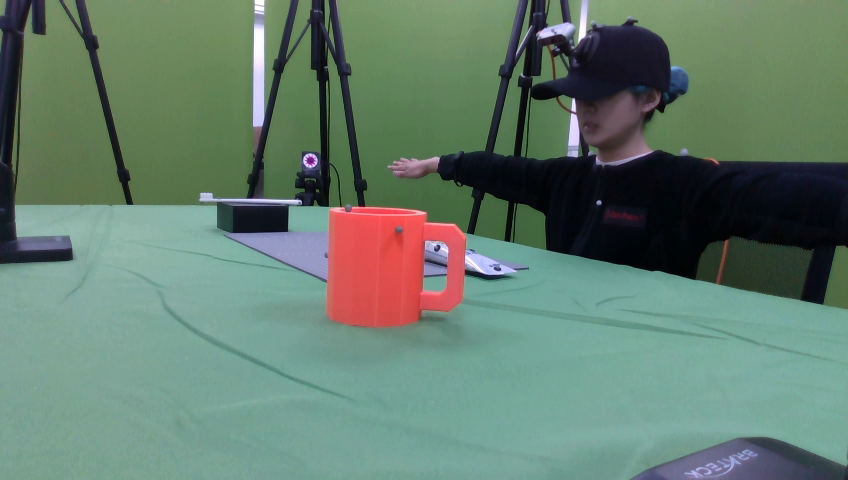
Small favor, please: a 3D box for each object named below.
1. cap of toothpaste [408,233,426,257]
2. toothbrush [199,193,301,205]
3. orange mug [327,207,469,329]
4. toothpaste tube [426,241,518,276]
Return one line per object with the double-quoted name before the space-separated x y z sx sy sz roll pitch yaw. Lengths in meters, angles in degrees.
"cap of toothpaste" -0.008 0.008 0.864 0.011 0.037 0.037 7 9 38
"toothbrush" -0.323 -0.076 1.129 0.182 0.016 0.014 2 5 -15
"orange mug" -0.024 0.021 0.535 0.126 0.100 0.083 -1 6 8
"toothpaste tube" 0.045 0.024 0.805 0.055 0.034 0.164 -10 18 -41
